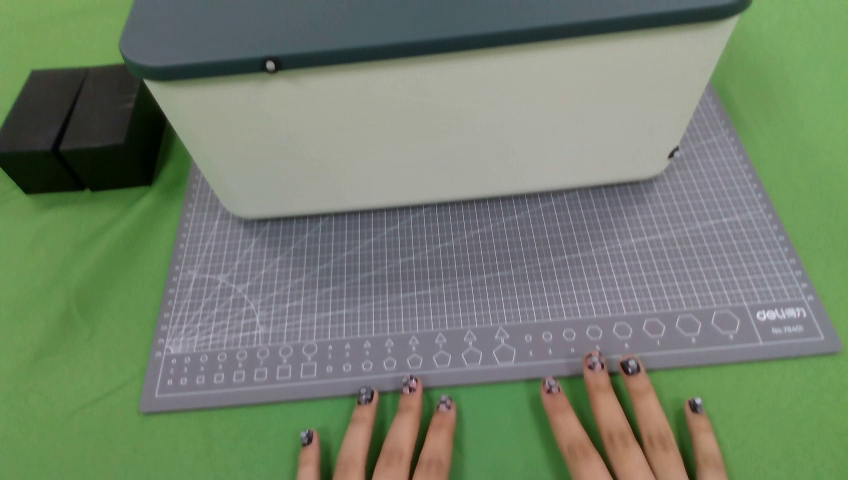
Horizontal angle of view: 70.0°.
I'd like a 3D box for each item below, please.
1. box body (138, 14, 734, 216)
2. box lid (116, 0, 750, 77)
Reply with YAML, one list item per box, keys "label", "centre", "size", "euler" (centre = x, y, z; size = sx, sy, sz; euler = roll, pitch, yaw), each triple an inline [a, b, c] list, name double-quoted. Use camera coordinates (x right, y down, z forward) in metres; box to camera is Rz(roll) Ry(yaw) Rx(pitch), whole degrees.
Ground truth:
- label: "box body"
  centre: [0.004, -0.169, 0.469]
  size: [0.364, 0.162, 0.251]
  euler: [-6, 55, 0]
- label: "box lid"
  centre: [-0.003, -0.212, 0.408]
  size: [0.372, 0.015, 0.260]
  euler: [-6, 54, 0]
